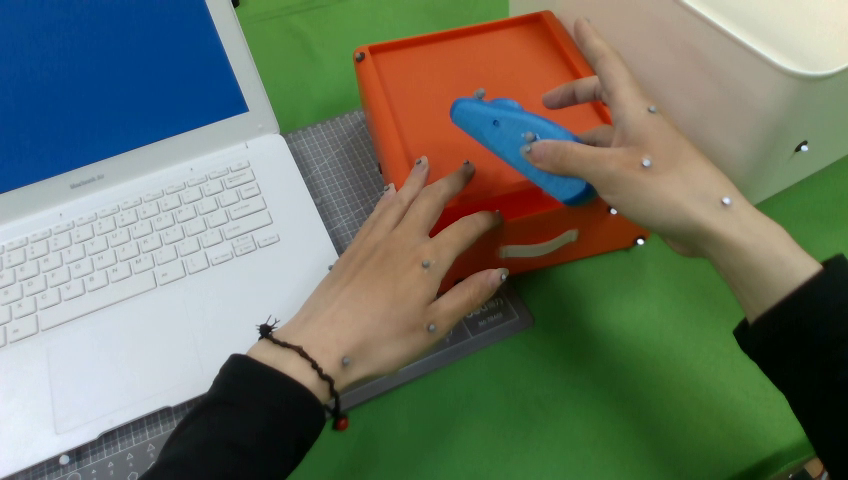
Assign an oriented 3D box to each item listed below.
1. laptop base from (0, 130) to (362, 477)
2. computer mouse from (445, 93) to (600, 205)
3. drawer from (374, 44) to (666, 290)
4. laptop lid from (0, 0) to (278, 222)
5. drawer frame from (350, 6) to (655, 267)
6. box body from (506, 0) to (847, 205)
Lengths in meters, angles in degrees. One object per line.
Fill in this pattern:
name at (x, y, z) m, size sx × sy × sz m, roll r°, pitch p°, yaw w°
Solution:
laptop base at (-0.251, 0.044, 0.492) m, size 0.355 × 0.023 × 0.233 m, roll -22°, pitch 59°, yaw -12°
computer mouse at (0.070, -0.068, 0.414) m, size 0.116 × 0.041 × 0.063 m, roll 36°, pitch 19°, yaw 14°
drawer at (0.062, -0.077, 0.517) m, size 0.195 × 0.074 × 0.209 m, roll -14°, pitch 54°, yaw -7°
laptop lid at (-0.330, -0.141, 0.506) m, size 0.357 × 0.243 × 0.013 m, roll -23°, pitch 26°, yaw -11°
drawer frame at (0.055, -0.098, 0.532) m, size 0.202 × 0.083 × 0.211 m, roll -15°, pitch 54°, yaw -7°
box body at (0.266, -0.229, 0.565) m, size 0.254 × 0.162 × 0.360 m, roll -26°, pitch 56°, yaw -15°
